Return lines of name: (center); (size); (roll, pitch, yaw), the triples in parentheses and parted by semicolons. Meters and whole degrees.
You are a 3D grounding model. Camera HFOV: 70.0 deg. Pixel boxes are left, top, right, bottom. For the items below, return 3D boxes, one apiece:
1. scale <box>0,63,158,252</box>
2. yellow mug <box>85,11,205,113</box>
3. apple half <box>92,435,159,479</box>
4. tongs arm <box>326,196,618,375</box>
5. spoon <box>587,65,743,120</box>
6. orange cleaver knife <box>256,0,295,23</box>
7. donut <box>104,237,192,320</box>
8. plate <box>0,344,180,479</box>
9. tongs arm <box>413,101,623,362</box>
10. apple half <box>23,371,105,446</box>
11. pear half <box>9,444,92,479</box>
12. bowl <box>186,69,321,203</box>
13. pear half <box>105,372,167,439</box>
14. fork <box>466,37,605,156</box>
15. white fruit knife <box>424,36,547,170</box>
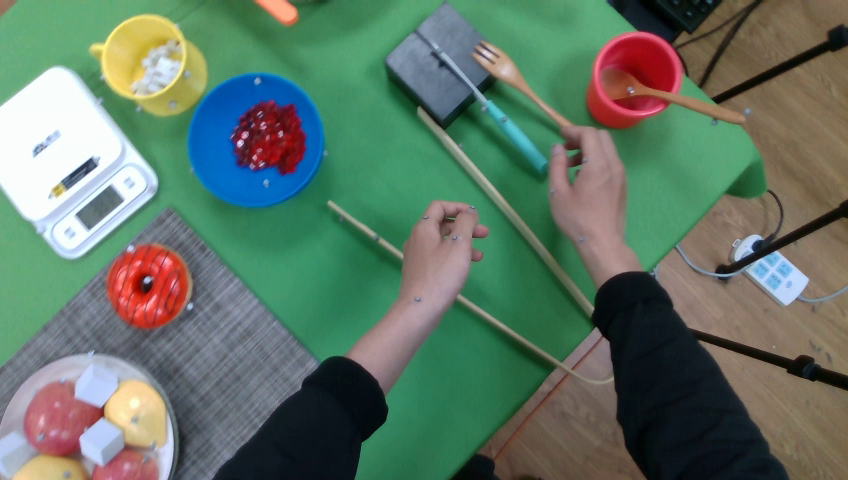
scale: (-0.436, -0.100, 0.733); (0.148, 0.031, 0.200); (-40, 86, -2)
yellow mug: (-0.339, -0.214, 0.723); (0.131, 0.064, 0.100); (13, 85, 3)
apple half: (-0.345, 0.263, 0.683); (0.081, 0.033, 0.081); (-1, 79, 5)
tongs arm: (0.053, 0.046, 0.709); (0.384, 0.026, 0.050); (36, 82, 3)
spoon: (0.258, -0.161, 0.668); (0.041, 0.022, 0.191); (-50, 42, -4)
orange cleaver knife: (-0.223, -0.327, 0.693); (0.211, 0.012, 0.077); (35, 84, 3)
donut: (-0.322, 0.045, 0.708); (0.099, 0.048, 0.099); (0, 87, 3)
plate: (-0.379, 0.223, 0.696); (0.209, 0.038, 0.208); (0, 85, 1)
tongs arm: (0.109, -0.016, 0.717); (0.028, 0.028, 0.387); (-39, 86, -10)
apple half: (-0.413, 0.193, 0.682); (0.081, 0.053, 0.074); (34, 89, 1)
pear half: (-0.405, 0.279, 0.670); (0.110, 0.056, 0.076); (39, 79, 0)
bowl: (-0.188, -0.112, 0.706); (0.151, 0.077, 0.151); (0, 86, 1)
pear half: (-0.332, 0.194, 0.691); (0.070, 0.031, 0.088); (-43, 83, 11)
fork: (0.135, -0.165, 0.711); (0.208, 0.018, 0.028); (37, 85, -12)
white fruit knife: (0.072, -0.158, 0.704); (0.208, 0.027, 0.016); (44, 86, -10)
